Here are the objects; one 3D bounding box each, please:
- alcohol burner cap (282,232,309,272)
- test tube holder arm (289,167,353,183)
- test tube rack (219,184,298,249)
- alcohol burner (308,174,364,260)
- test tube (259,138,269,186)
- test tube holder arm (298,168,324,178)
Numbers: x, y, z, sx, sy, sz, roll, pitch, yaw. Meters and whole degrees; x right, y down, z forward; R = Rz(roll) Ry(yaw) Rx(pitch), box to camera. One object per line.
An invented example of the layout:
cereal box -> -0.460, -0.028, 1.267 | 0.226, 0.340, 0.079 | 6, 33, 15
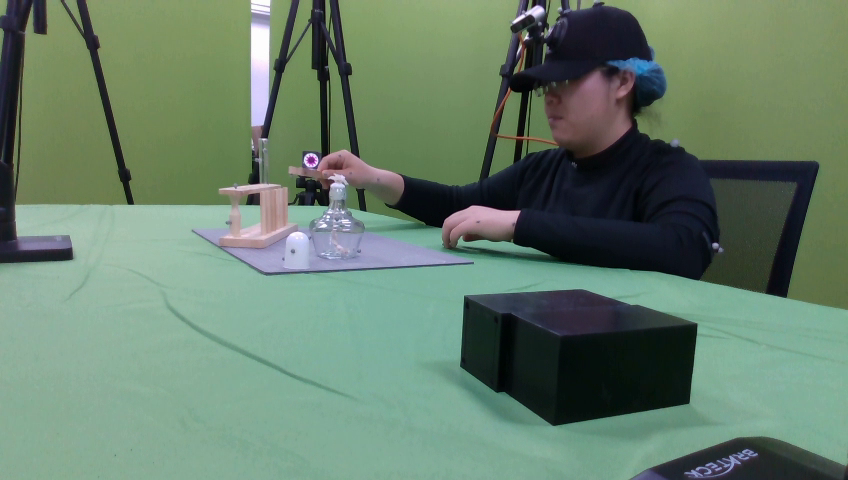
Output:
alcohol burner cap -> -0.157, 0.014, 0.740 | 0.034, 0.048, 0.034 | 2, 6, 0
test tube holder arm -> -0.199, -0.127, 1.189 | 0.013, 0.015, 0.179 | 13, 5, 29
test tube rack -> -0.266, -0.046, 1.002 | 0.067, 0.085, 0.242 | 3, 7, 0
alcohol burner -> -0.121, -0.033, 0.841 | 0.078, 0.119, 0.078 | 3, 5, 0
test tube -> -0.281, -0.104, 1.064 | 0.017, 0.150, 0.017 | 2, 12, 0
test tube holder arm -> -0.213, -0.127, 1.146 | 0.010, 0.015, 0.088 | 10, 4, 16
